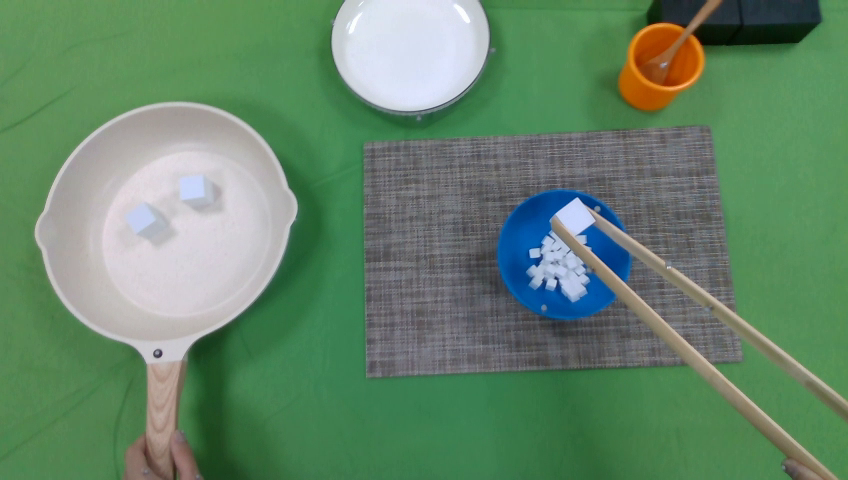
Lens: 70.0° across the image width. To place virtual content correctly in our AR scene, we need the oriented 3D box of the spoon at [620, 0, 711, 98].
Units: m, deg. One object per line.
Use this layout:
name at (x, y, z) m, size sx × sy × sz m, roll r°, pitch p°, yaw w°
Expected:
spoon at (0.311, -0.255, 0.736) m, size 0.041 × 0.194 × 0.021 m, roll 46°, pitch 38°, yaw 12°

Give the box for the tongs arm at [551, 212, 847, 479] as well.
tongs arm at (0.240, 0.094, 0.526) m, size 0.028 × 0.028 × 0.383 m, roll -32°, pitch 54°, yaw -14°

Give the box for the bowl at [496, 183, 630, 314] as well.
bowl at (0.156, 0.017, 0.713) m, size 0.151 × 0.077 × 0.150 m, roll 0°, pitch 78°, yaw 1°

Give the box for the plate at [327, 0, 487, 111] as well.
plate at (-0.021, -0.264, 0.801) m, size 0.207 × 0.039 × 0.206 m, roll 0°, pitch 78°, yaw 1°

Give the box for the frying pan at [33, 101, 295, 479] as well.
frying pan at (-0.295, 0.076, 0.700) m, size 0.307 × 0.103 × 0.484 m, roll -5°, pitch 70°, yaw 1°

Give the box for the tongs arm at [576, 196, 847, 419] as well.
tongs arm at (0.260, 0.081, 0.530) m, size 0.051 × 0.027 × 0.380 m, roll -37°, pitch 55°, yaw -13°
